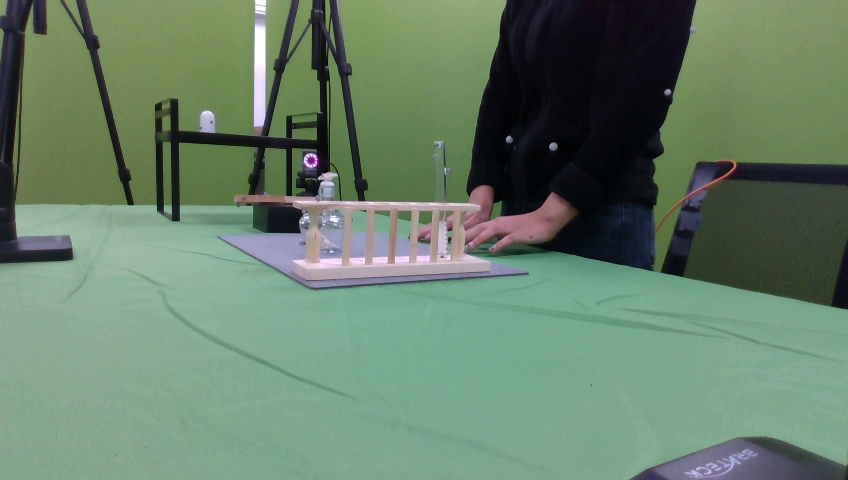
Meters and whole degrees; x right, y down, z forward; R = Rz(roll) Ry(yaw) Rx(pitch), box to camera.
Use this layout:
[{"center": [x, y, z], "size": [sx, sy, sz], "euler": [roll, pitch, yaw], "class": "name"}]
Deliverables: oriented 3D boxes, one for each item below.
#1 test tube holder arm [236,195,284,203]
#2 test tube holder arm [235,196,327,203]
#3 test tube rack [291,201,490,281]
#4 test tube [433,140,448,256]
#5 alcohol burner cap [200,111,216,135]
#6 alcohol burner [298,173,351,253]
[{"center": [-0.304, -0.075, 1.123], "size": [0.088, 0.015, 0.010], "euler": [-2, 4, -33], "class": "test tube holder arm"}, {"center": [-0.270, -0.077, 1.153], "size": [0.179, 0.015, 0.013], "euler": [-2, 4, -34], "class": "test tube holder arm"}, {"center": [-0.035, -0.002, 0.745], "size": [0.243, 0.085, 0.066], "euler": [-1, 8, -28], "class": "test tube rack"}, {"center": [0.021, -0.054, 0.785], "size": [0.017, 0.150, 0.017], "euler": [-2, 8, 1], "class": "test tube"}, {"center": [-0.448, -0.243, 1.255], "size": [0.034, 0.048, 0.034], "euler": [2, 7, 0], "class": "alcohol burner cap"}, {"center": [-0.146, -0.040, 0.894], "size": [0.078, 0.119, 0.078], "euler": [5, 7, 0], "class": "alcohol burner"}]
